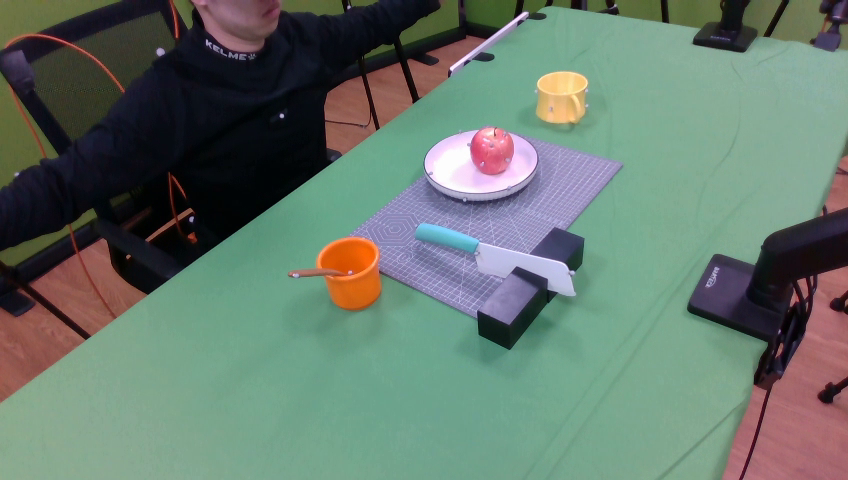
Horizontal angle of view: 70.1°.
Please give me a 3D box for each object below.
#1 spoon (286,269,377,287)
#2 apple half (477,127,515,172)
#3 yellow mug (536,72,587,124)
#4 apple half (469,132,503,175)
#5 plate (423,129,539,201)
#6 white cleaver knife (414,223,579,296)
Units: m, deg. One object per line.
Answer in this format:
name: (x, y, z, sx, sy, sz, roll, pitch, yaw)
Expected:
spoon: (-0.125, 0.049, 0.831, 0.041, 0.195, 0.021, 22, 92, 28)
apple half: (0.132, -0.164, 1.085, 0.053, 0.075, 0.080, -28, 41, -28)
yellow mug: (0.284, -0.281, 1.222, 0.100, 0.064, 0.130, -16, 42, -9)
apple half: (0.102, -0.146, 1.067, 0.033, 0.081, 0.080, -28, 44, -29)
plate: (0.103, -0.132, 1.092, 0.209, 0.038, 0.208, -4, 40, 4)
white cleaver knife: (0.093, 0.028, 0.880, 0.284, 0.066, 0.021, 17, 44, 40)
